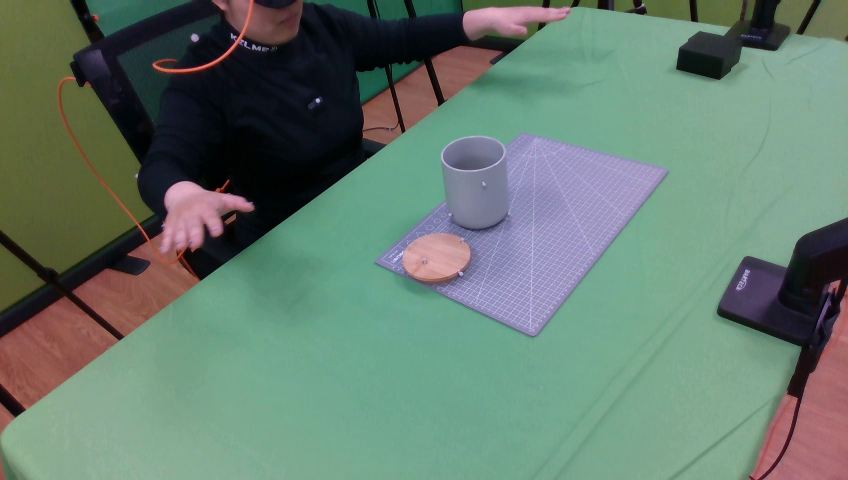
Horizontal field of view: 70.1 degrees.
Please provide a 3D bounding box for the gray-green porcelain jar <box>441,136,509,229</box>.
[{"bbox_3d":[0.086,-0.090,0.988,0.106,0.127,0.105,-5,40,5],"label":"gray-green porcelain jar"}]

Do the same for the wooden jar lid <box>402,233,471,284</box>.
[{"bbox_3d":[0.020,0.030,0.941,0.108,0.021,0.108,-4,40,4],"label":"wooden jar lid"}]
